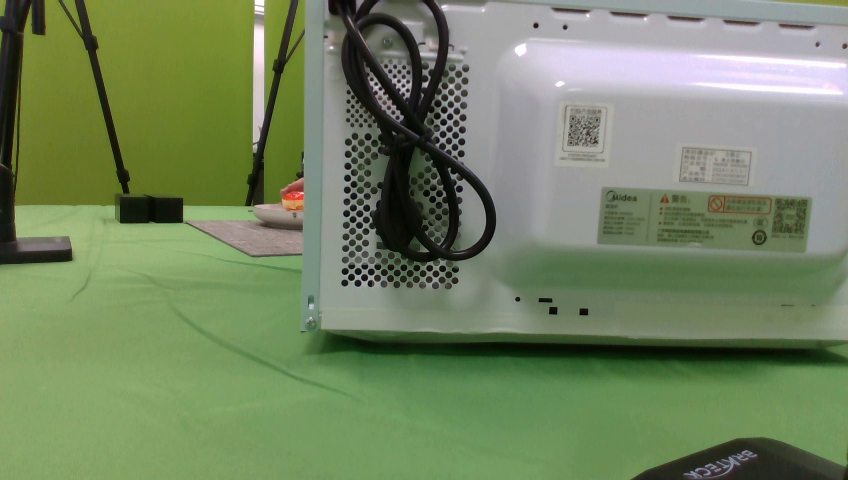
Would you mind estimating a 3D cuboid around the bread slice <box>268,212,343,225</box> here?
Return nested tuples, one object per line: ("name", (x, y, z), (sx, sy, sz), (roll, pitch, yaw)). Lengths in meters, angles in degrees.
("bread slice", (-0.244, -0.045, 1.220), (0.104, 0.019, 0.132), (6, 7, 36))

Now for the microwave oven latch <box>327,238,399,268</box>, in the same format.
("microwave oven latch", (-0.069, 0.015, 0.694), (0.079, 0.029, 0.030), (3, 7, -3))

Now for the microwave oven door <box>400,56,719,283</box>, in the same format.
("microwave oven door", (0.155, -0.078, 0.697), (0.356, 0.243, 0.039), (2, 8, -5))

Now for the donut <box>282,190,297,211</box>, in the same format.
("donut", (-0.239, -0.076, 1.232), (0.099, 0.048, 0.099), (2, 4, 0))

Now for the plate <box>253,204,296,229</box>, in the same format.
("plate", (-0.238, -0.047, 1.226), (0.208, 0.039, 0.207), (3, 7, 0))

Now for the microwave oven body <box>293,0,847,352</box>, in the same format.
("microwave oven body", (0.122, -0.055, 0.550), (0.442, 0.260, 0.325), (3, 7, -5))
